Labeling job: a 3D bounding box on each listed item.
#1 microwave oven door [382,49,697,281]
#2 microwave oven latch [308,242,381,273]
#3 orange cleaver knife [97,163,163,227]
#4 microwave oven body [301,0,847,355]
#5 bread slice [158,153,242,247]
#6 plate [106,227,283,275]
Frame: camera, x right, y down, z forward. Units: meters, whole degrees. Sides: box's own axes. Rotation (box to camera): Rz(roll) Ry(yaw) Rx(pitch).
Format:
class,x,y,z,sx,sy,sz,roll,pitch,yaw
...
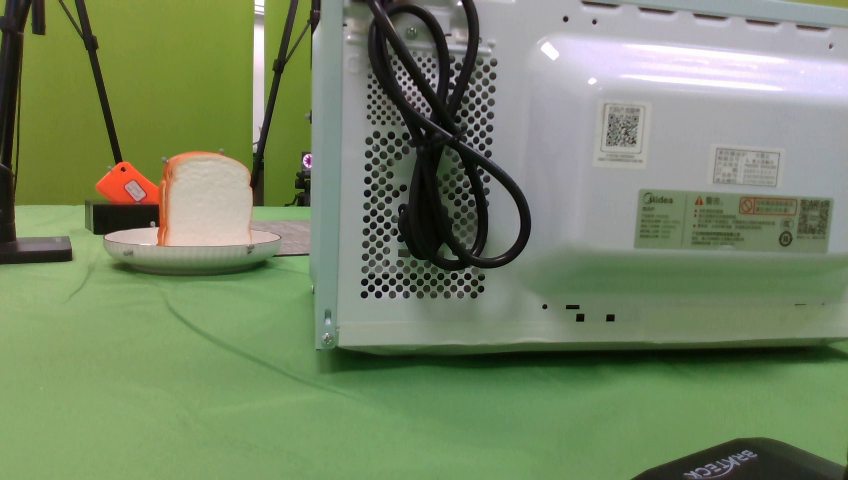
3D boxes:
class,x,y,z,sx,sy,sz,roll,pitch,yaw
microwave oven door,0.135,-0.077,0.685,0.357,0.243,0.039,1,8,-12
microwave oven latch,-0.086,0.019,0.656,0.079,0.029,0.030,2,7,-11
orange cleaver knife,-0.472,-0.062,1.087,0.212,0.077,0.012,33,-14,-36
microwave oven body,0.120,-0.053,0.535,0.443,0.260,0.325,2,7,-11
bread slice,-0.287,-0.045,0.788,0.107,0.134,0.018,2,8,-35
plate,-0.288,0.013,0.772,0.208,0.039,0.207,2,7,0
